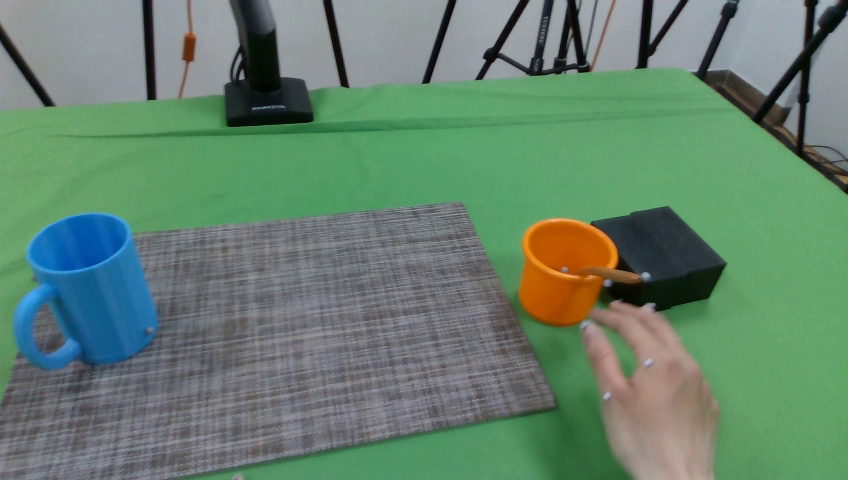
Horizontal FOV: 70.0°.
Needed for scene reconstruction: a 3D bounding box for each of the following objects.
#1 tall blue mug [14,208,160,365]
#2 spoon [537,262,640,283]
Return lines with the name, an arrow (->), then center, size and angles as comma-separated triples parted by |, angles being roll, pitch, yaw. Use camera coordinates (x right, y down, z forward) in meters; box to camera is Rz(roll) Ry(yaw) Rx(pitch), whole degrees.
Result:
tall blue mug -> -0.277, 0.048, 0.507 | 0.078, 0.109, 0.106 | 0, 41, -7
spoon -> 0.145, 0.028, 0.551 | 0.042, 0.193, 0.021 | 1, 85, -6
